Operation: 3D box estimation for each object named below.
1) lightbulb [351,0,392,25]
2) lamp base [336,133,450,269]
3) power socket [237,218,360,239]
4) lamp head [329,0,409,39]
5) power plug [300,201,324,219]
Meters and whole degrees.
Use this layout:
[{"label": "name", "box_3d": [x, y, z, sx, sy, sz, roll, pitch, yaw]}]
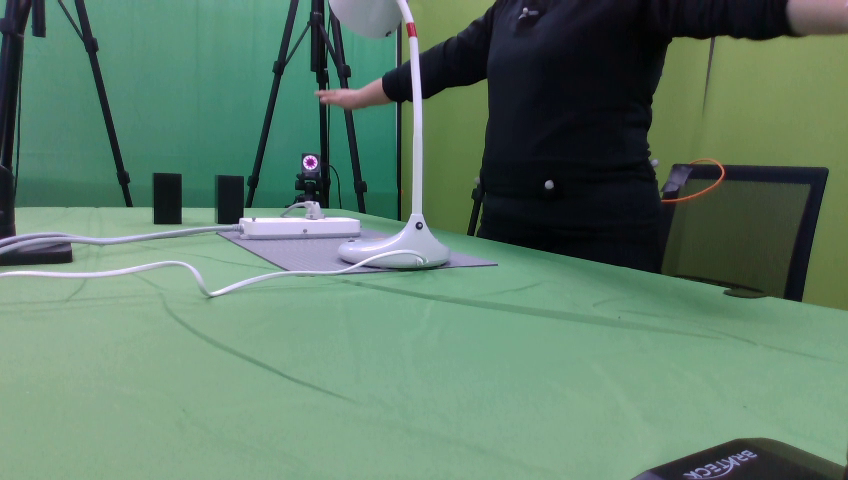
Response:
[{"label": "lightbulb", "box_3d": [-0.070, -0.355, 0.866, 0.060, 0.059, 0.107, 0, -21, -20]}, {"label": "lamp base", "box_3d": [-0.032, -0.057, 0.830, 0.161, 0.180, 0.178, -2, 11, -34]}, {"label": "power socket", "box_3d": [-0.220, -0.023, 1.080, 0.228, 0.032, 0.072, -2, 7, -33]}, {"label": "lamp head", "box_3d": [-0.062, -0.357, 0.842, 0.113, 0.112, 0.122, -1, -14, -29]}, {"label": "power plug", "box_3d": [-0.207, -0.046, 1.120, 0.035, 0.052, 0.072, 2, 4, -22]}]
